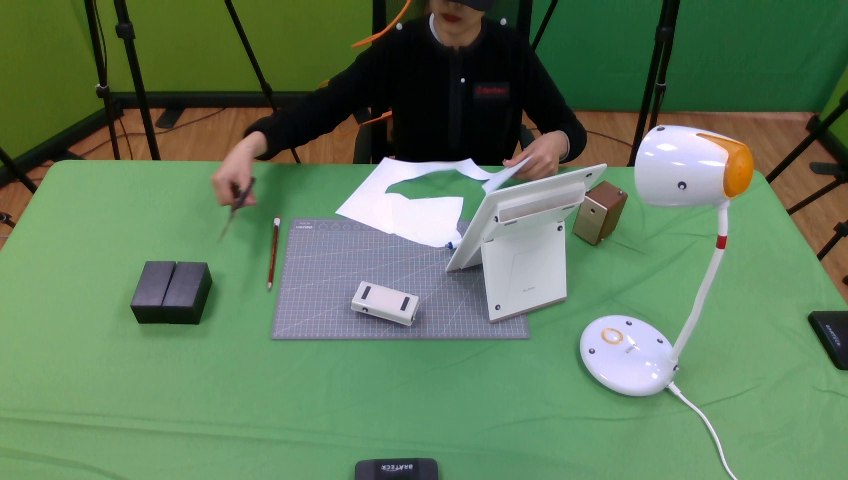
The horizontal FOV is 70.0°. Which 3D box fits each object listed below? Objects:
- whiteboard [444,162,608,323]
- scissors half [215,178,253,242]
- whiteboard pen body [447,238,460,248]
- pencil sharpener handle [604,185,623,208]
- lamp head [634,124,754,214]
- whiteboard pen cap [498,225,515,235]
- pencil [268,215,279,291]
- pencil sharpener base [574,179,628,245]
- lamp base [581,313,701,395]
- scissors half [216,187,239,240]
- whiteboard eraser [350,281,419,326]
[{"bbox_3d":[0.186,0.025,1.029,0.217,0.306,0.143,-14,68,-18],"label":"whiteboard"},{"bbox_3d":[-0.351,-0.059,1.118,0.013,0.040,0.174,41,40,-26],"label":"scissors half"},{"bbox_3d":[0.112,-0.005,1.204,0.141,0.017,0.017,-14,49,-18],"label":"whiteboard pen body"},{"bbox_3d":[0.390,-0.092,1.235,0.030,0.068,0.036,-34,70,-31],"label":"pencil sharpener handle"},{"bbox_3d":[0.351,-0.089,0.775,0.112,0.113,0.122,-30,30,-28],"label":"lamp head"},{"bbox_3d":[0.166,-0.019,1.223,0.033,0.018,0.018,-14,49,-19],"label":"whiteboard pen cap"},{"bbox_3d":[-0.291,0.022,1.164,0.012,0.012,0.192,-2,48,-6],"label":"pencil"},{"bbox_3d":[0.355,-0.057,1.217,0.076,0.107,0.061,-34,56,-31],"label":"pencil sharpener base"},{"bbox_3d":[0.361,0.144,0.972,0.178,0.181,0.160,34,53,23],"label":"lamp base"},{"bbox_3d":[-0.367,-0.049,1.126,0.040,0.013,0.174,-36,30,15],"label":"scissors half"},{"bbox_3d":[-0.069,0.113,1.065,0.112,0.042,0.055,14,46,9],"label":"whiteboard eraser"}]
